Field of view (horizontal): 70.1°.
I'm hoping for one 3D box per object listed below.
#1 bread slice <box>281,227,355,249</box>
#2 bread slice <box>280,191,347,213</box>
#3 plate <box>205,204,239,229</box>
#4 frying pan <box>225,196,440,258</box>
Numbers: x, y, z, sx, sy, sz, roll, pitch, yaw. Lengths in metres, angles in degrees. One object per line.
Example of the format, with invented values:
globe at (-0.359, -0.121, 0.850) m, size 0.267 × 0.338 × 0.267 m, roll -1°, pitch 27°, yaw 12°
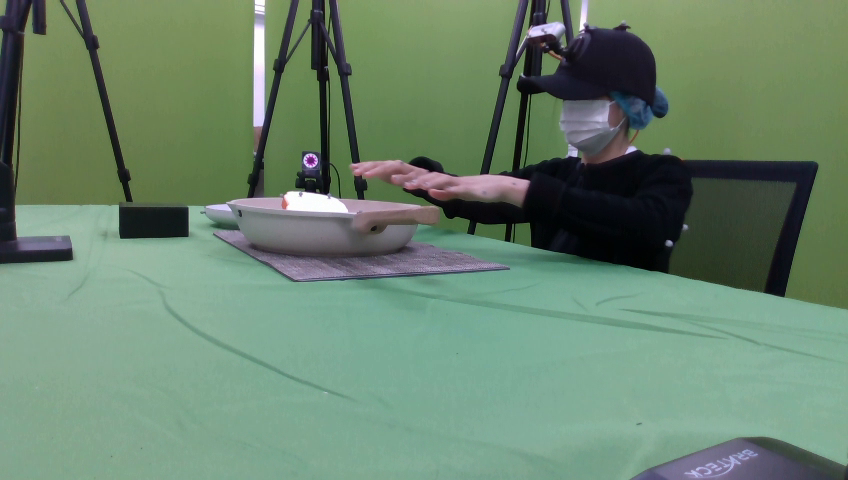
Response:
bread slice at (-0.170, -0.004, 0.943) m, size 0.107 × 0.018 × 0.134 m, roll 2°, pitch 8°, yaw -15°
bread slice at (-0.171, -0.049, 0.934) m, size 0.105 × 0.019 × 0.131 m, roll 8°, pitch 17°, yaw -20°
plate at (-0.324, -0.046, 1.199) m, size 0.208 × 0.039 × 0.207 m, roll 3°, pitch 7°, yaw 0°
frying pan at (-0.103, -0.027, 0.845) m, size 0.308 × 0.102 × 0.486 m, roll -2°, pitch 0°, yaw -26°
